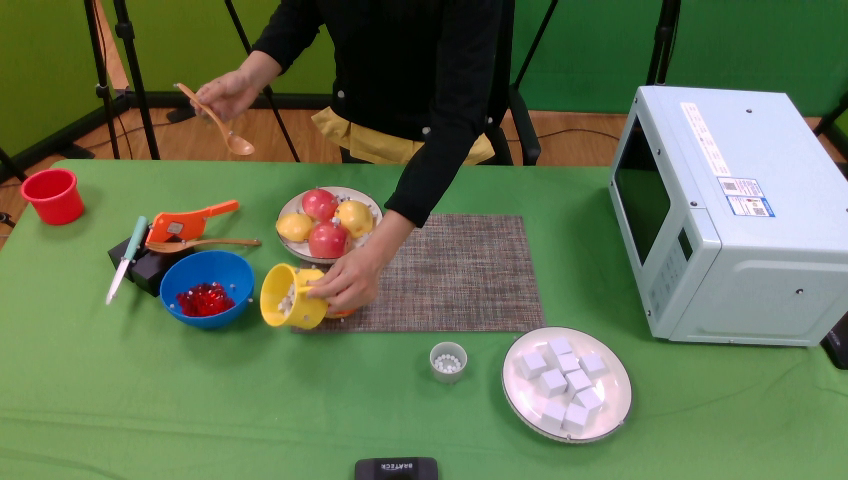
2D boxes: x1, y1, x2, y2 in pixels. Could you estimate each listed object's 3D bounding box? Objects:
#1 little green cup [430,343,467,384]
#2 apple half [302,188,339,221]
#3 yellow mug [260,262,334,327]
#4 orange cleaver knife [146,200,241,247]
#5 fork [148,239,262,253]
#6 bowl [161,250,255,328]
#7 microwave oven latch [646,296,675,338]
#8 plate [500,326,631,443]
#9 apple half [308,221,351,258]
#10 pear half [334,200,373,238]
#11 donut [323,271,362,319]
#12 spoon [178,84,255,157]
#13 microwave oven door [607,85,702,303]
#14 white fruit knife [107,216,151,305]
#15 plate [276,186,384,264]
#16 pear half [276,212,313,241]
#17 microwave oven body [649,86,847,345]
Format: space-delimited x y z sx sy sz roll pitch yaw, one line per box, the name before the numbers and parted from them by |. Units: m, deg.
little green cup | 0.039 0.203 0.993 0.061 0.039 0.061 3 46 -2
apple half | -0.205 -0.076 1.217 0.081 0.033 0.081 18 46 -19
yellow mug | -0.198 0.085 0.968 0.064 0.130 0.099 13 68 -47
orange cleaver knife | -0.435 -0.033 1.157 0.012 0.077 0.211 31 26 19
fork | -0.398 0.008 1.117 0.208 0.019 0.028 -5 34 -37
bowl | -0.362 0.097 1.040 0.151 0.077 0.150 2 45 -2
microwave oven latch | 0.412 0.134 1.061 0.030 0.029 0.078 4 45 1
plate | 0.224 0.234 0.978 0.208 0.039 0.206 2 46 -2
apple half | -0.180 -0.005 1.150 0.074 0.053 0.080 14 43 9
pear half | -0.147 -0.059 1.210 0.076 0.056 0.109 -17 44 -25
donut | -0.157 0.097 1.073 0.099 0.048 0.098 4 44 -4
spoon | -0.383 -0.222 1.115 0.193 0.021 0.041 47 50 3
microwave oven door | 0.423 -0.094 1.140 0.039 0.245 0.353 2 46 -1
white fruit knife | -0.519 0.032 1.067 0.027 0.016 0.206 -19 45 19
plate | -0.184 -0.027 1.195 0.209 0.038 0.208 2 46 -2
pear half | -0.244 -0.035 1.178 0.070 0.031 0.088 40 42 1
microwave oven body | 0.568 -0.053 1.118 0.326 0.261 0.439 2 45 -1
